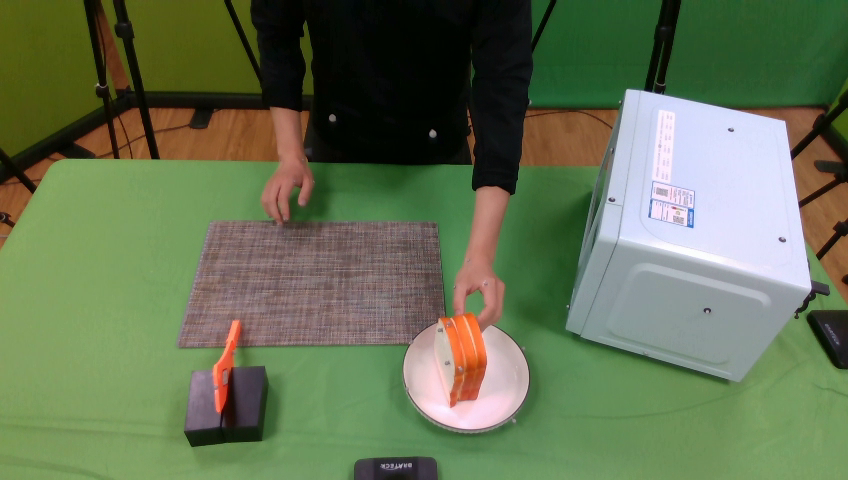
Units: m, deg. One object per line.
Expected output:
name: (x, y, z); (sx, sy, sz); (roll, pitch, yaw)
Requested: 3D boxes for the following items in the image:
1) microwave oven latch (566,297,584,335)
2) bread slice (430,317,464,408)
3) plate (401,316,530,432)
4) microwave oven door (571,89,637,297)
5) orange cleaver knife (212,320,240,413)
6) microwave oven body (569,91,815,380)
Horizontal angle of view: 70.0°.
microwave oven latch: (0.268, 0.126, 1.059); (0.030, 0.029, 0.079); (16, 46, 12)
bread slice: (0.035, 0.180, 0.932); (0.018, 0.135, 0.106); (-10, 51, -13)
plate: (0.066, 0.217, 0.982); (0.208, 0.039, 0.206); (2, 46, -2)
microwave oven door: (0.343, -0.091, 1.133); (0.039, 0.245, 0.354); (15, 47, 10)
orange cleaver knife: (-0.306, 0.190, 0.944); (0.012, 0.077, 0.210); (-5, 17, -7)
microwave oven body: (0.468, -0.022, 1.082); (0.325, 0.261, 0.440); (15, 46, 11)
